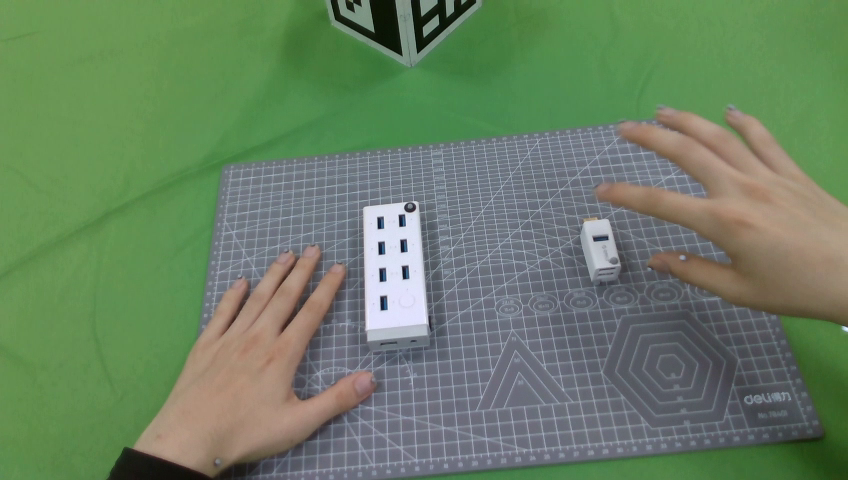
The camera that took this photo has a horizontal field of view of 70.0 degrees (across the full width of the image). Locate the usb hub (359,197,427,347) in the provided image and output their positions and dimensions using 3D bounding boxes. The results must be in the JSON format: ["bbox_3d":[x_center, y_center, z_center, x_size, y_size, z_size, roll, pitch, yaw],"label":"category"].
[{"bbox_3d":[-0.026,0.023,0.490,0.049,0.025,0.124,-5,59,1],"label":"usb hub"}]

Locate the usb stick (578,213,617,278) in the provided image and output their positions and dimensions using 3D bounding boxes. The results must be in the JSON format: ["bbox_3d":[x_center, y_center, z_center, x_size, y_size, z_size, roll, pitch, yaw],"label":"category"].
[{"bbox_3d":[0.139,0.000,0.490,0.021,0.027,0.058,-7,57,4],"label":"usb stick"}]
